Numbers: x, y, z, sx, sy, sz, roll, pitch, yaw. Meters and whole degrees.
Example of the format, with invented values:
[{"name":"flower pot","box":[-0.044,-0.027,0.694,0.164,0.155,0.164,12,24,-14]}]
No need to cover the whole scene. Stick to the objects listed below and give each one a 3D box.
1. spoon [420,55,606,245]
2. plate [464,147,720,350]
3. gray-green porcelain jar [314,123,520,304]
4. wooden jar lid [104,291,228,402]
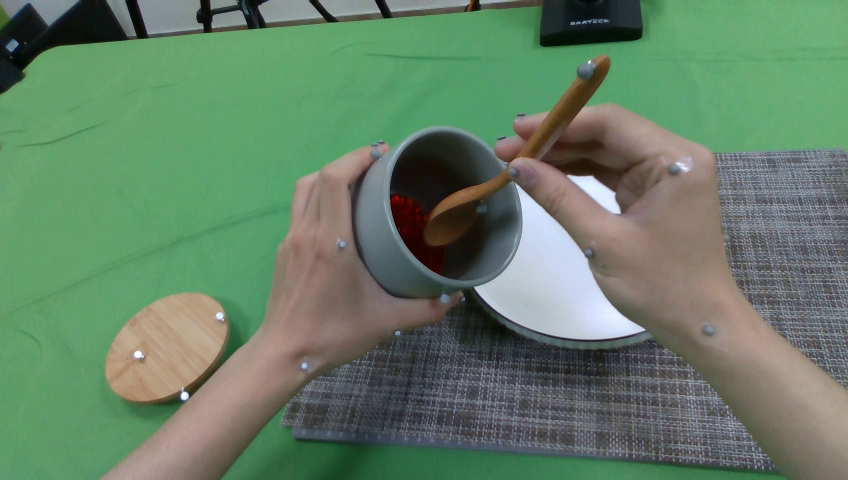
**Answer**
[{"name":"spoon","box":[0.041,-0.037,0.328,0.042,0.194,0.021,-17,79,-26]},{"name":"plate","box":[0.128,0.005,0.502,0.207,0.039,0.205,-7,48,8]},{"name":"gray-green porcelain jar","box":[-0.012,-0.011,0.429,0.126,0.106,0.105,-21,28,56]},{"name":"wooden jar lid","box":[-0.220,0.092,0.526,0.108,0.021,0.107,-6,49,7]}]
